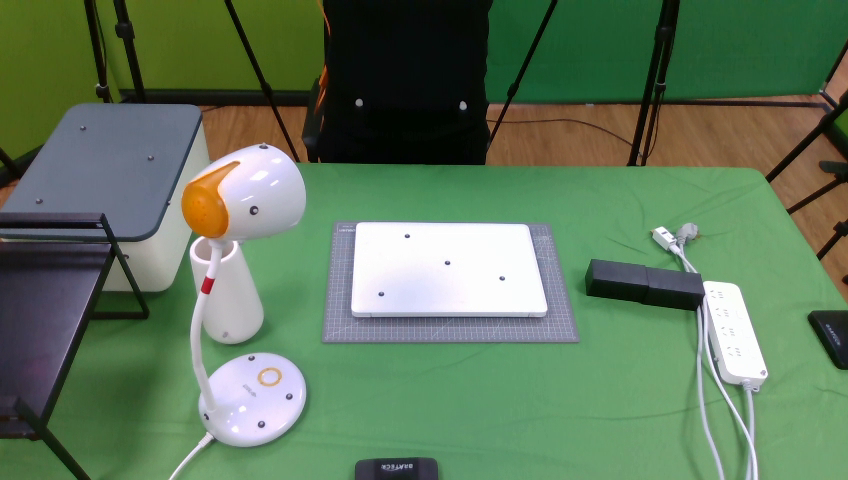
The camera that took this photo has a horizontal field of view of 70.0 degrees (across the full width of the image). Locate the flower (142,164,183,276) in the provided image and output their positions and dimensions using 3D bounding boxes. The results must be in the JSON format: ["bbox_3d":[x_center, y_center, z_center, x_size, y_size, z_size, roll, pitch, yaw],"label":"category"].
[{"bbox_3d":[-0.493,-0.056,1.172,0.038,0.044,0.359,36,23,-32],"label":"flower"}]

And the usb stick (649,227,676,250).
[{"bbox_3d":[0.485,-0.008,1.238,0.021,0.027,0.059,-21,43,-14],"label":"usb stick"}]

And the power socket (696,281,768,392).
[{"bbox_3d":[0.543,0.161,1.077,0.072,0.033,0.225,6,46,2],"label":"power socket"}]

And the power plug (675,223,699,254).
[{"bbox_3d":[0.537,0.000,1.244,0.053,0.035,0.072,19,82,-17],"label":"power plug"}]

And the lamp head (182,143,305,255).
[{"bbox_3d":[-0.216,-0.044,0.697,0.112,0.113,0.123,23,31,17],"label":"lamp head"}]

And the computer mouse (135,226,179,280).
[{"bbox_3d":[-0.493,0.020,1.118,0.063,0.041,0.116,1,53,-10],"label":"computer mouse"}]

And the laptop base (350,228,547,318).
[{"bbox_3d":[0.041,0.056,1.149,0.355,0.023,0.234,0,43,-4],"label":"laptop base"}]

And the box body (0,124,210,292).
[{"bbox_3d":[-0.568,-0.082,1.134,0.254,0.161,0.361,2,46,-3],"label":"box body"}]

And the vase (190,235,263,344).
[{"bbox_3d":[-0.317,0.081,0.971,0.098,0.201,0.097,3,47,-3],"label":"vase"}]

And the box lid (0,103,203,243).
[{"bbox_3d":[-0.563,-0.132,1.079,0.263,0.015,0.369,1,46,-3],"label":"box lid"}]

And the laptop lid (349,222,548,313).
[{"bbox_3d":[0.042,0.046,1.142,0.357,0.013,0.240,2,44,-3],"label":"laptop lid"}]

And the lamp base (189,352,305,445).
[{"bbox_3d":[-0.268,0.197,0.876,0.160,0.181,0.179,25,52,20],"label":"lamp base"}]
